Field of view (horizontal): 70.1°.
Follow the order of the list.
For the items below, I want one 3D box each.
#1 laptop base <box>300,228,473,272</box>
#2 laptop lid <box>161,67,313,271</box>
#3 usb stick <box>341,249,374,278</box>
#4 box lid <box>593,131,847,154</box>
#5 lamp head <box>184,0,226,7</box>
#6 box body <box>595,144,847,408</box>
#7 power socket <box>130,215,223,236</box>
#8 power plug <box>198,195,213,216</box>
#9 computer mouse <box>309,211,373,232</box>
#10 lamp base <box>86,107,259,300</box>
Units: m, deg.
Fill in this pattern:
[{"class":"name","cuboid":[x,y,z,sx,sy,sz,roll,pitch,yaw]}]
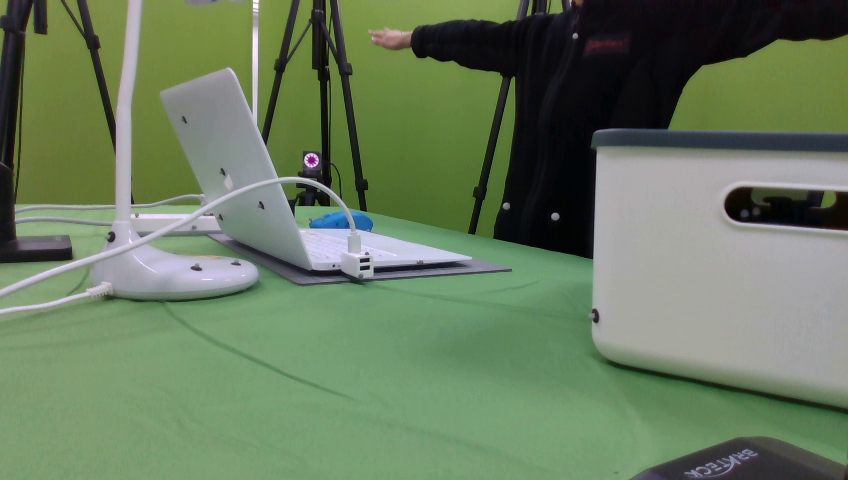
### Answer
[{"class":"laptop base","cuboid":[-0.124,0.011,0.889,0.237,0.023,0.352,2,6,-35]},{"class":"laptop lid","cuboid":[-0.255,-0.090,0.782,0.013,0.242,0.355,-29,24,-28]},{"class":"usb stick","cuboid":[-0.079,0.026,0.687,0.021,0.027,0.059,-8,9,-30]},{"class":"box lid","cuboid":[0.311,-0.067,0.498,0.262,0.015,0.373,6,7,30]},{"class":"lamp head","cuboid":[-0.229,-0.320,0.627,0.112,0.112,0.123,6,-35,26]},{"class":"box body","cuboid":[0.310,0.007,0.508,0.253,0.160,0.366,6,8,30]},{"class":"power socket","cuboid":[-0.397,-0.028,1.048,0.228,0.032,0.072,-3,8,-35]},{"class":"power plug","cuboid":[-0.386,-0.055,1.088,0.035,0.052,0.072,-2,6,-24]},{"class":"computer mouse","cuboid":[-0.157,-0.033,1.139,0.118,0.041,0.062,-5,11,-28]},{"class":"lamp base","cuboid":[-0.254,-0.039,0.603,0.160,0.180,0.179,5,10,18]}]
